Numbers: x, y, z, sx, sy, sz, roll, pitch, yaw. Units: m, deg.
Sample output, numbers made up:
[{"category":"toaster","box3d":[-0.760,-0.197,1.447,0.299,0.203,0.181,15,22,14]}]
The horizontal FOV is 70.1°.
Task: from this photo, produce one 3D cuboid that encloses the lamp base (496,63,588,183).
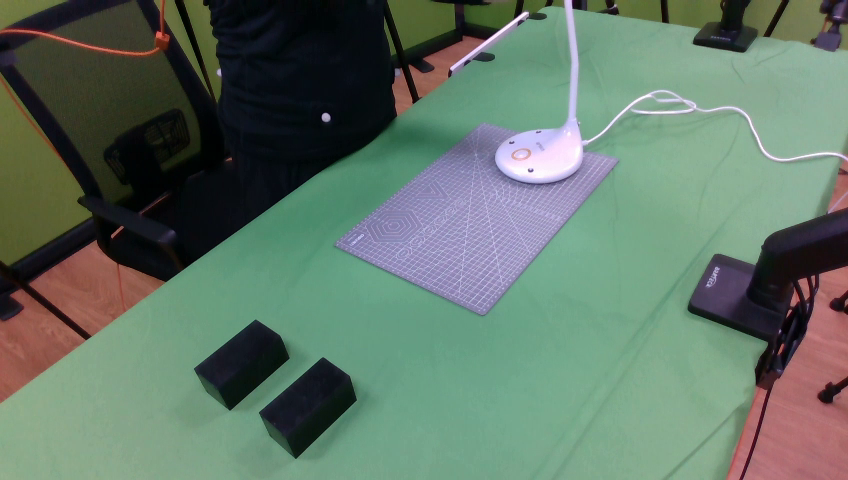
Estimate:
[{"category":"lamp base","box3d":[0.216,-0.217,1.067,0.180,0.181,0.159,-19,42,-18]}]
